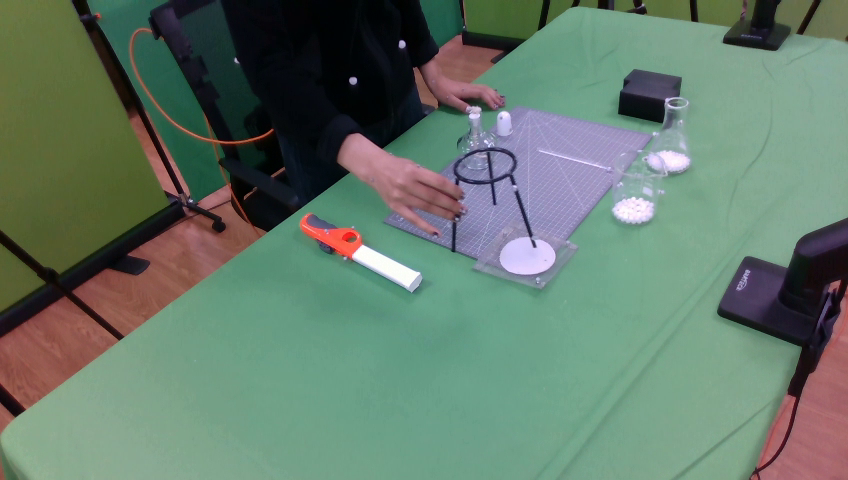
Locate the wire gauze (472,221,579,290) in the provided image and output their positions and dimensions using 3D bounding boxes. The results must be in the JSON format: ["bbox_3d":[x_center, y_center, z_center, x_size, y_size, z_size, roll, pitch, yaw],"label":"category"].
[{"bbox_3d":[0.157,0.024,0.933,0.120,0.011,0.125,21,49,31],"label":"wire gauze"}]

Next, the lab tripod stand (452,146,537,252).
[{"bbox_3d":[0.095,-0.060,0.881,0.148,0.132,0.147,-9,39,8],"label":"lab tripod stand"}]

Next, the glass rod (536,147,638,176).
[{"bbox_3d":[0.294,-0.145,1.104,0.198,0.008,0.008,22,50,31],"label":"glass rod"}]

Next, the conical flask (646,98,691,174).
[{"bbox_3d":[0.426,-0.180,1.037,0.075,0.122,0.075,-5,40,5],"label":"conical flask"}]

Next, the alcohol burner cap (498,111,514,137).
[{"bbox_3d":[0.163,-0.235,1.211,0.034,0.048,0.033,-6,40,6],"label":"alcohol burner cap"}]

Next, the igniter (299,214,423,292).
[{"bbox_3d":[-0.113,0.016,0.983,0.274,0.025,0.057,26,62,35],"label":"igniter"}]

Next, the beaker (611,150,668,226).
[{"bbox_3d":[0.337,-0.079,0.953,0.083,0.101,0.074,25,51,33],"label":"beaker"}]

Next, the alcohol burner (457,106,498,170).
[{"bbox_3d":[0.097,-0.191,1.117,0.078,0.119,0.077,-7,39,6],"label":"alcohol burner"}]
